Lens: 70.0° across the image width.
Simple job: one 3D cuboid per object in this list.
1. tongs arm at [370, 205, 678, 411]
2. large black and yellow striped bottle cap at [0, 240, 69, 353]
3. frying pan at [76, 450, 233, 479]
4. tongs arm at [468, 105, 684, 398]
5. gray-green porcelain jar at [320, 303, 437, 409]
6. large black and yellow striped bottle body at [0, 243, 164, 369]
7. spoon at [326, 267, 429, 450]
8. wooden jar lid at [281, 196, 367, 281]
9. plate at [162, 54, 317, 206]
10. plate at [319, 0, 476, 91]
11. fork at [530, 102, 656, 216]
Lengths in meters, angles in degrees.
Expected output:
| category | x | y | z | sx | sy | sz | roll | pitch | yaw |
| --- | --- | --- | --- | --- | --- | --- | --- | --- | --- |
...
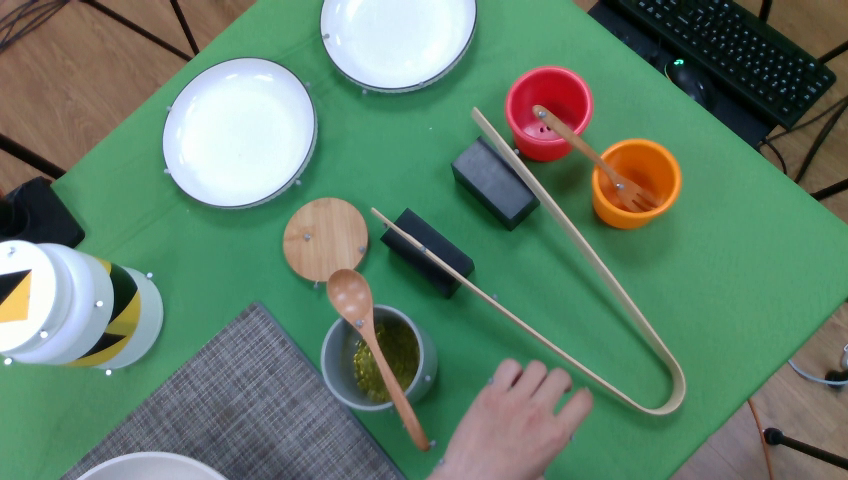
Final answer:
| category | x | y | z | sx | sy | sz | roll | pitch | yaw |
| --- | --- | --- | --- | --- | --- | --- | --- | --- | --- |
| tongs arm | 0.106 | 0.067 | 0.659 | 0.384 | 0.026 | 0.050 | 39 | 82 | 3 |
| large black and yellow striped bottle cap | -0.417 | 0.056 | 0.612 | 0.115 | 0.019 | 0.114 | -2 | 78 | 7 |
| frying pan | -0.289 | 0.474 | 0.621 | 0.306 | 0.103 | 0.484 | -3 | 68 | 9 |
| tongs arm | 0.165 | 0.007 | 0.668 | 0.028 | 0.028 | 0.387 | -36 | 86 | -11 |
| gray-green porcelain jar | -0.043 | 0.128 | 0.657 | 0.106 | 0.127 | 0.105 | -2 | 76 | 8 |
| large black and yellow striped bottle body | -0.405 | 0.078 | 0.693 | 0.130 | 0.185 | 0.130 | -2 | 76 | 8 |
| spoon | -0.044 | 0.114 | 0.587 | 0.041 | 0.022 | 0.192 | -26 | 78 | -2 |
| wooden jar lid | -0.122 | -0.001 | 0.754 | 0.108 | 0.021 | 0.108 | -2 | 78 | 7 |
| plate | -0.238 | -0.141 | 0.794 | 0.207 | 0.039 | 0.206 | -2 | 77 | 8 |
| plate | -0.034 | -0.288 | 0.797 | 0.209 | 0.038 | 0.208 | -2 | 77 | 8 |
| fork | 0.187 | -0.087 | 0.660 | 0.209 | 0.018 | 0.028 | 33 | 91 | -30 |
